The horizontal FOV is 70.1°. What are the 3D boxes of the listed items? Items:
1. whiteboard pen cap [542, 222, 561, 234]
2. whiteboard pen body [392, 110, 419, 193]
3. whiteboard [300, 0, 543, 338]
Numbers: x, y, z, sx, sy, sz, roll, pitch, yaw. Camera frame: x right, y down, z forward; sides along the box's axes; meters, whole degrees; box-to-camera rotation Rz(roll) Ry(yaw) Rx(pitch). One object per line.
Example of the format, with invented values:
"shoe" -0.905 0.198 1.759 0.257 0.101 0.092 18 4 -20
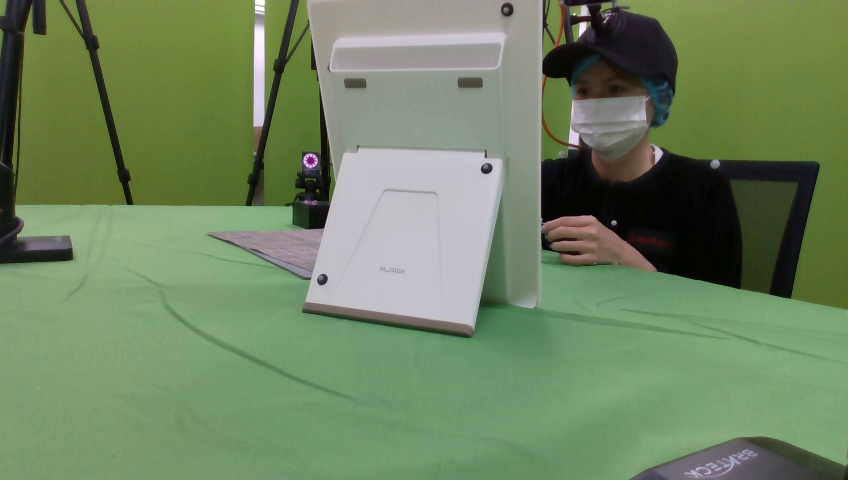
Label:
"whiteboard pen cap" 0.191 -0.018 0.923 0.033 0.018 0.018 -3 4 30
"whiteboard pen body" -0.022 -0.102 0.691 0.017 0.017 0.140 4 48 7
"whiteboard" -0.020 -0.050 0.523 0.216 0.305 0.144 6 27 22
